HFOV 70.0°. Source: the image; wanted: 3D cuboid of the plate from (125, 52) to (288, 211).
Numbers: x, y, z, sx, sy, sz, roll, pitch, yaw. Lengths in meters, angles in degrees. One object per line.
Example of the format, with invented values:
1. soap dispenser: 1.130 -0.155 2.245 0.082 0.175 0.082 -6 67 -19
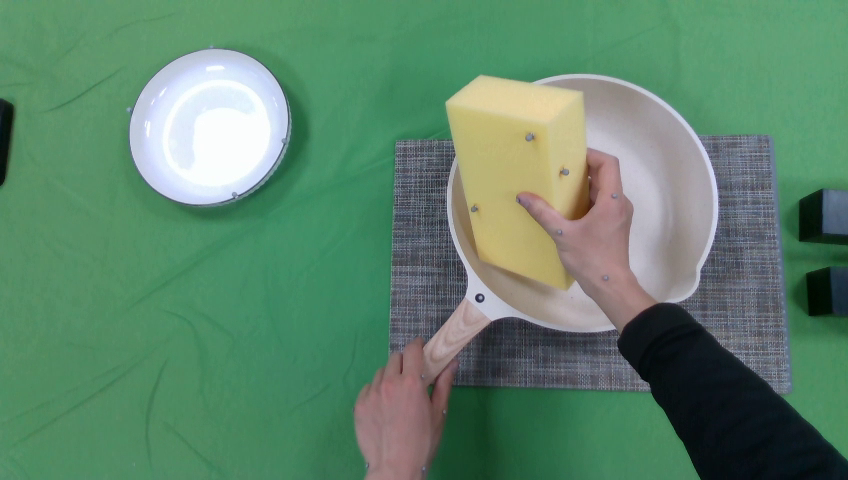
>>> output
1. plate: -0.272 -0.135 0.772 0.207 0.039 0.207 -1 80 5

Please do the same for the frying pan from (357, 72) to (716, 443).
1. frying pan: 0.100 0.030 0.671 0.305 0.103 0.487 42 78 12

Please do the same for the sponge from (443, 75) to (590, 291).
1. sponge: 0.101 -0.057 0.627 0.117 0.209 0.061 20 51 37
